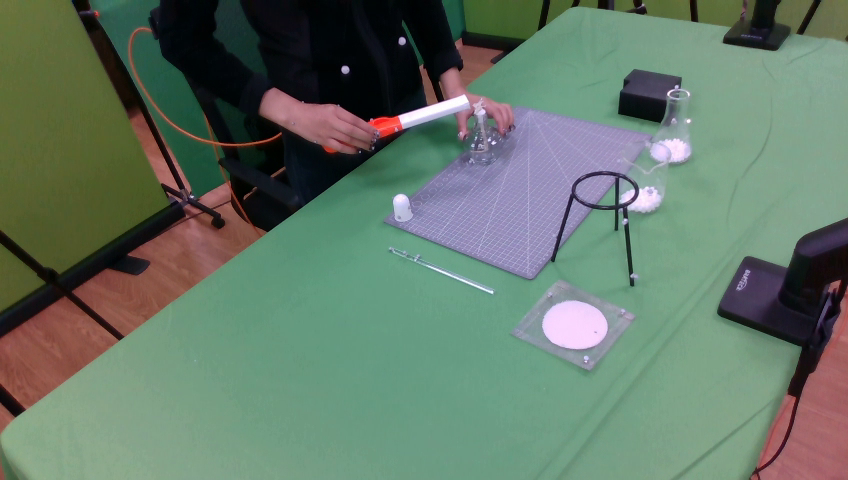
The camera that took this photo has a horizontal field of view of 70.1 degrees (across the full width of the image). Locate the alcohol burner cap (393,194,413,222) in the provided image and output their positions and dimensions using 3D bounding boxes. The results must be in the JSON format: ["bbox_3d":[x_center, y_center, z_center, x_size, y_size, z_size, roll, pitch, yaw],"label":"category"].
[{"bbox_3d":[-0.038,-0.057,1.038,0.034,0.048,0.033,-6,41,5],"label":"alcohol burner cap"}]

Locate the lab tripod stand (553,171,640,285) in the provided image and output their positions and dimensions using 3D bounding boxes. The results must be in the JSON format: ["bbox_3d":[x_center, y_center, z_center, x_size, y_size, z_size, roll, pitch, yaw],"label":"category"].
[{"bbox_3d":[0.260,-0.025,0.877,0.148,0.132,0.147,-6,38,5],"label":"lab tripod stand"}]

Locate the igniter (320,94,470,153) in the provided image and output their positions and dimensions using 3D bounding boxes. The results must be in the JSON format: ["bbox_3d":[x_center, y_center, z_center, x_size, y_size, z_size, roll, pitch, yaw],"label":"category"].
[{"bbox_3d":[-0.053,-0.208,1.085,0.277,0.025,0.057,-18,44,-2],"label":"igniter"}]

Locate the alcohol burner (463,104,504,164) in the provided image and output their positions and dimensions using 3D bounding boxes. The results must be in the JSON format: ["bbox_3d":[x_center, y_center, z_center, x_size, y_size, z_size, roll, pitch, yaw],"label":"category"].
[{"bbox_3d":[0.109,-0.202,1.126,0.078,0.119,0.077,-5,42,5],"label":"alcohol burner"}]

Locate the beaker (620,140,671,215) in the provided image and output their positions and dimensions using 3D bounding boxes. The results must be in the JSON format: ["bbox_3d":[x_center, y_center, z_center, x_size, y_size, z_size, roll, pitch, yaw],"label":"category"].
[{"bbox_3d":[0.352,-0.096,0.971,0.074,0.101,0.084,1,42,13],"label":"beaker"}]

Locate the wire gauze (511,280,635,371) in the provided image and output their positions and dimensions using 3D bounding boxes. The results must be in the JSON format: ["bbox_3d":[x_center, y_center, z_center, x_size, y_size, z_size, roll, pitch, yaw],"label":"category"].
[{"bbox_3d":[0.203,0.114,0.822,0.120,0.011,0.125,25,52,35],"label":"wire gauze"}]

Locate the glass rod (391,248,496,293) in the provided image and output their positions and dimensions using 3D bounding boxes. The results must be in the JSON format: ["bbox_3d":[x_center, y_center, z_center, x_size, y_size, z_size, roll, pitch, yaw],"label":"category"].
[{"bbox_3d":[0.026,0.045,0.937,0.198,0.008,0.008,21,49,31],"label":"glass rod"}]

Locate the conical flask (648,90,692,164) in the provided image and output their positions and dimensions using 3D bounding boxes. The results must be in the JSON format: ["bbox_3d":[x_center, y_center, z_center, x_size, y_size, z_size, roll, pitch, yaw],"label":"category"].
[{"bbox_3d":[0.437,-0.199,1.057,0.075,0.122,0.075,-5,40,5],"label":"conical flask"}]
